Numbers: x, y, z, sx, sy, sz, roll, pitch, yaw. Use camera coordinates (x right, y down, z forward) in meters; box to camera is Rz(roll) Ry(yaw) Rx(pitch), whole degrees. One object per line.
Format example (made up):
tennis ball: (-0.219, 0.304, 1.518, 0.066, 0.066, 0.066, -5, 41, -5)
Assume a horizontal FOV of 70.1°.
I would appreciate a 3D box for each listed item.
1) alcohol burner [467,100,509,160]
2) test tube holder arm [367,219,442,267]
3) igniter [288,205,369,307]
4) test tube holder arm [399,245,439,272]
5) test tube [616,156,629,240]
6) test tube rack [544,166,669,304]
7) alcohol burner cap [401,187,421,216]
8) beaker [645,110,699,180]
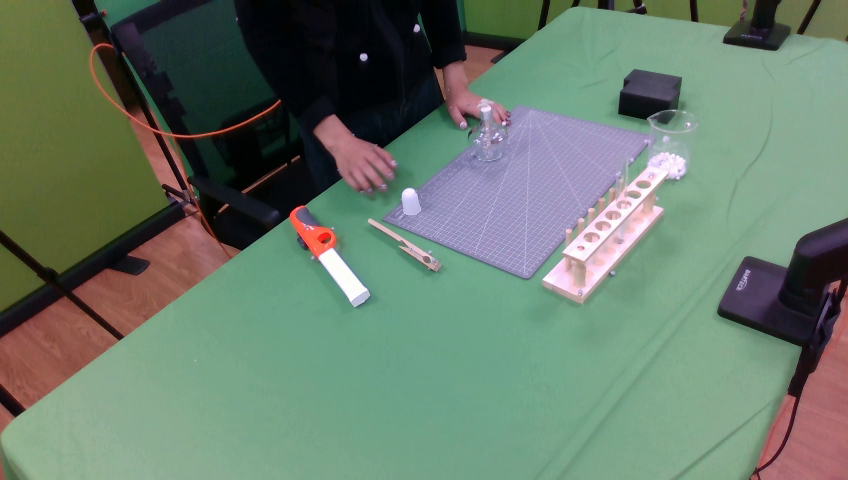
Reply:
alcohol burner: (0.118, -0.210, 1.131, 0.078, 0.119, 0.077, -6, 42, 5)
test tube holder arm: (-0.035, 0.003, 0.985, 0.177, 0.015, 0.013, 33, 90, 40)
igniter: (-0.163, 0.018, 0.986, 0.057, 0.025, 0.274, -33, 45, -12)
test tube holder arm: (-0.009, 0.026, 0.957, 0.087, 0.015, 0.010, 35, 91, 40)
test tube: (0.284, -0.057, 0.869, 0.017, 0.151, 0.017, -8, 42, 8)
test tube rack: (0.274, -0.018, 0.903, 0.066, 0.085, 0.243, 26, 51, 35)
alcohol burner cap: (-0.025, -0.070, 1.048, 0.034, 0.048, 0.033, -5, 41, 5)
beaker: (0.417, -0.160, 1.032, 0.083, 0.101, 0.074, 25, 51, 35)
